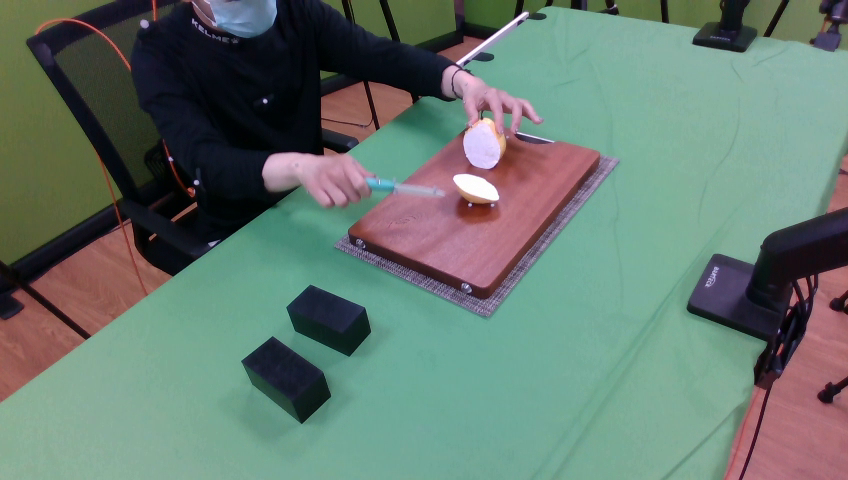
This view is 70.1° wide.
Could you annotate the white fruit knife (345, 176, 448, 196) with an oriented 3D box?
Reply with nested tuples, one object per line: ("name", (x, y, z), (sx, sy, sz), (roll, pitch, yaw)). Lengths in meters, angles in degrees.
("white fruit knife", (-0.047, -0.080, 0.915), (0.206, 0.028, 0.016), (10, 67, 37))

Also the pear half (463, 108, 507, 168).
("pear half", (0.110, -0.187, 1.059), (0.076, 0.110, 0.056), (13, 43, 17))

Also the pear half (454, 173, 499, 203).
("pear half", (0.085, -0.079, 0.994), (0.071, 0.031, 0.087), (-22, 52, -38))
